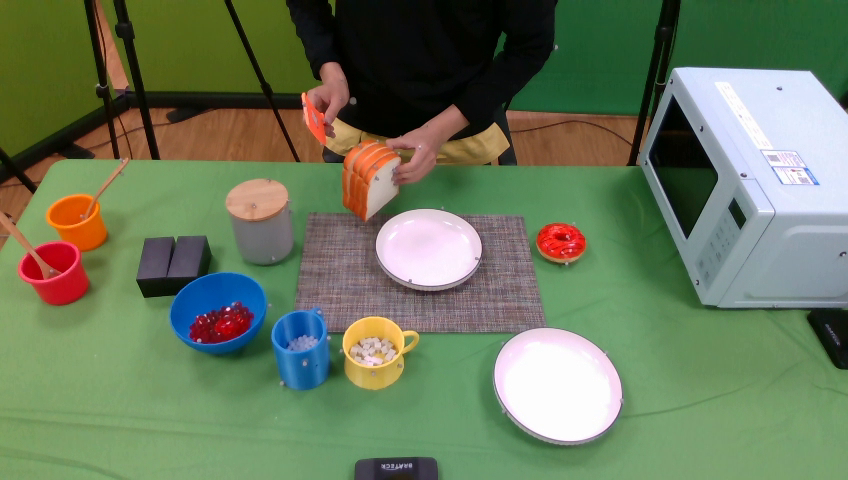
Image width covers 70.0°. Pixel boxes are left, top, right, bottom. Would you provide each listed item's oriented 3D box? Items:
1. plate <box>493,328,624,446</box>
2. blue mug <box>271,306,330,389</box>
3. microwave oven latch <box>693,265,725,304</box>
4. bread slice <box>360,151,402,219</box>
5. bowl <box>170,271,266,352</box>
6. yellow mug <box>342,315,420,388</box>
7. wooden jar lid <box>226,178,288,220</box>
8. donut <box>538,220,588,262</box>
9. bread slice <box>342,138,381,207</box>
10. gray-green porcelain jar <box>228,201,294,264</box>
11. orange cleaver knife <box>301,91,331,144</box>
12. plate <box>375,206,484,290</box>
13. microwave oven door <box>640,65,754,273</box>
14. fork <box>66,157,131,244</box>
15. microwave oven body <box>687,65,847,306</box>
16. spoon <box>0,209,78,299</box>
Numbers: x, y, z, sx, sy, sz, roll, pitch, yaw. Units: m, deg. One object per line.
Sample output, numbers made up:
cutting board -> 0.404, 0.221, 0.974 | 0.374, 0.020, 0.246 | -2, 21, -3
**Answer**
plate -> 0.213, 0.236, 0.974 | 0.208, 0.039, 0.206 | 2, 46, -2
blue mug -> -0.188, 0.163, 0.969 | 0.082, 0.106, 0.116 | 15, 47, 10
microwave oven latch -> 0.522, 0.081, 1.115 | 0.030, 0.029, 0.078 | 2, 46, -1
bread slice -> -0.085, -0.110, 1.171 | 0.018, 0.135, 0.107 | 36, 61, 16
bowl -> -0.333, 0.132, 1.006 | 0.151, 0.077, 0.150 | 2, 46, -2
yellow mug -> -0.068, 0.177, 0.991 | 0.131, 0.064, 0.099 | -15, 50, -19
wooden jar lid -> -0.296, -0.070, 1.081 | 0.108, 0.021, 0.107 | 1, 45, -1
donut -> 0.273, 0.000, 1.198 | 0.099, 0.048, 0.098 | 0, 46, 0
bread slice -> -0.122, -0.139, 1.185 | 0.019, 0.132, 0.105 | 33, 54, 21
gray-green porcelain jar -> -0.300, -0.027, 1.126 | 0.106, 0.127, 0.105 | 2, 46, -2
orange cleaver knife -> -0.191, -0.213, 1.099 | 0.012, 0.211, 0.077 | -13, 91, 3
plate -> 0.009, 0.018, 1.160 | 0.209, 0.038, 0.208 | 2, 47, -2
microwave oven door -> 0.523, -0.147, 1.193 | 0.039, 0.245, 0.353 | 0, 47, -3
fork -> -0.608, -0.074, 1.132 | 0.207, 0.019, 0.028 | -52, 48, 10
microwave oven body -> 0.669, -0.111, 1.176 | 0.326, 0.261, 0.439 | 0, 46, -3
spoon -> -0.668, 0.021, 1.040 | 0.041, 0.021, 0.194 | -41, 105, -30
